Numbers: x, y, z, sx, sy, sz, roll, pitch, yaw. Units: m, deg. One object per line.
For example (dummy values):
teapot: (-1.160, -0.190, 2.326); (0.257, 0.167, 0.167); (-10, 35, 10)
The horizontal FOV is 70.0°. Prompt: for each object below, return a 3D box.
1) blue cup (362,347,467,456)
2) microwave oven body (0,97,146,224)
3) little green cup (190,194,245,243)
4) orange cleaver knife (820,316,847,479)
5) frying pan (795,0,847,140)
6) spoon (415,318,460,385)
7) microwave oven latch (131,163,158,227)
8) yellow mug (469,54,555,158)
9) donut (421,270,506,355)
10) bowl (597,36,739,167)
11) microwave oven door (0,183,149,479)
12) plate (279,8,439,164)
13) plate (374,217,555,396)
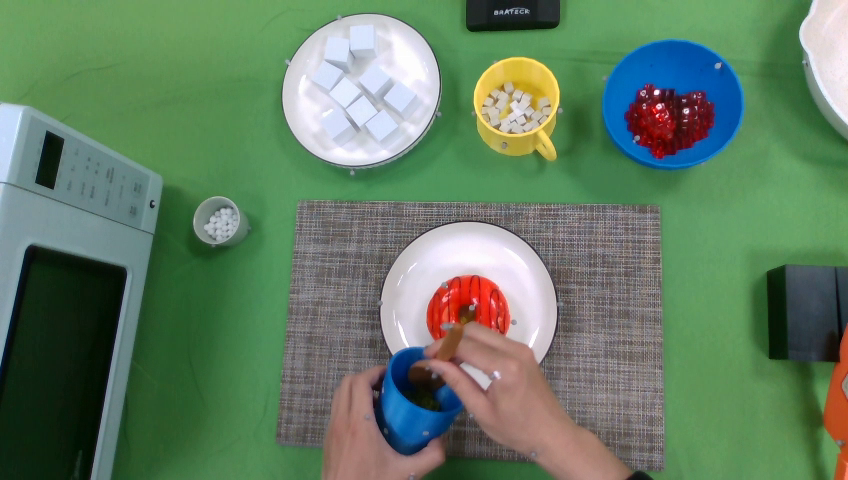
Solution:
blue cup: (-0.018, 0.170, 0.608); (0.093, 0.100, 0.091); (17, 45, -17)
microwave oven body: (-0.542, 0.086, 0.676); (0.325, 0.261, 0.440); (5, 81, 8)
little green cup: (-0.261, -0.025, 0.774); (0.061, 0.039, 0.061); (-1, 81, 7)
orange cleaver knife: (0.426, 0.183, 0.621); (0.012, 0.077, 0.212); (1, 109, 9)
frying pan: (0.548, -0.115, 0.644); (0.306, 0.103, 0.485); (7, 73, 10)
spoon: (0.011, 0.105, 0.545); (0.041, 0.194, 0.021); (15, 67, -3)
microwave oven latch: (-0.365, -0.058, 0.776); (0.030, 0.029, 0.079); (8, 82, 9)
yellow mug: (0.116, -0.152, 0.731); (0.100, 0.064, 0.130); (-35, 78, 1)
donut: (0.045, 0.083, 0.698); (0.099, 0.048, 0.099); (-1, 83, 9)
bowl: (0.273, -0.149, 0.703); (0.151, 0.077, 0.151); (-1, 80, 8)
microwave oven door: (-0.404, 0.139, 0.643); (0.039, 0.245, 0.354); (4, 80, 9)
plate: (-0.082, -0.194, 0.780); (0.207, 0.039, 0.207); (-1, 80, 8)
plate: (0.046, 0.076, 0.711); (0.209, 0.038, 0.208); (-1, 80, 8)
